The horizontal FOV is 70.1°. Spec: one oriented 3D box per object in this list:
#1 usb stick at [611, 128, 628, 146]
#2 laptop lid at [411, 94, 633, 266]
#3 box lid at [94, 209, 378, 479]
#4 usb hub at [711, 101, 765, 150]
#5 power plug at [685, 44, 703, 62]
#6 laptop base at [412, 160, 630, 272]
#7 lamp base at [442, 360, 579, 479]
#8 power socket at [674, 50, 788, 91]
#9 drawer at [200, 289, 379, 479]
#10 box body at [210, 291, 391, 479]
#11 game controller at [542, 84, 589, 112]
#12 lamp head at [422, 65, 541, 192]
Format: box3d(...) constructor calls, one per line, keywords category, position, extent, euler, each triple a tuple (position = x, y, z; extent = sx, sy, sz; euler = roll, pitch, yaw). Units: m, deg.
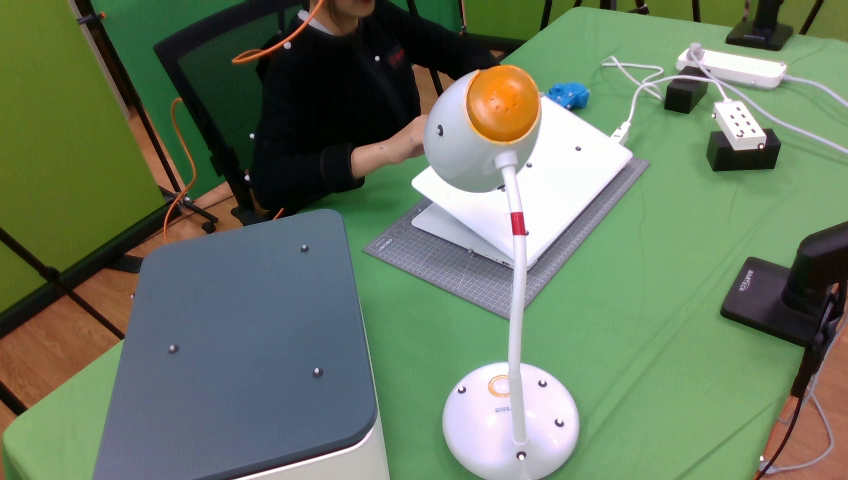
box3d(category="usb stick", position=(0.353, -0.178, 1.110), extent=(0.021, 0.027, 0.059), euler=(19, 56, 30))
box3d(category="laptop lid", position=(0.175, -0.122, 1.016), extent=(0.240, 0.013, 0.358), euler=(38, 56, 19))
box3d(category="box lid", position=(-0.202, 0.094, 0.680), extent=(0.264, 0.015, 0.368), euler=(-13, 39, -5))
box3d(category="usb hub", position=(0.537, -0.198, 1.038), extent=(0.049, 0.025, 0.124), euler=(-4, 39, 8))
box3d(category="power plug", position=(0.568, -0.390, 1.294), extent=(0.073, 0.053, 0.035), euler=(-33, 46, -22))
box3d(category="laptop base", position=(0.175, -0.083, 1.056), extent=(0.233, 0.023, 0.355), euler=(21, 48, 36))
box3d(category="lamp base", position=(0.094, 0.158, 0.657), extent=(0.161, 0.181, 0.178), euler=(-13, 42, -5))
box3d(category="power socket", position=(0.646, -0.363, 1.284), extent=(0.225, 0.033, 0.072), euler=(25, 52, 34))
box3d(category="drawer", position=(-0.172, 0.176, 0.760), extent=(0.195, 0.073, 0.210), euler=(-13, 42, -8))
box3d(category="box body", position=(-0.190, 0.161, 0.723), extent=(0.255, 0.161, 0.361), euler=(-13, 40, -5))
box3d(category="game controller", position=(0.273, -0.282, 1.251), extent=(0.096, 0.052, 0.155), euler=(26, 52, 30))
box3d(category="lamp head", position=(0.060, -0.106, 0.560), extent=(0.113, 0.112, 0.122), euler=(-16, 0, -8))
